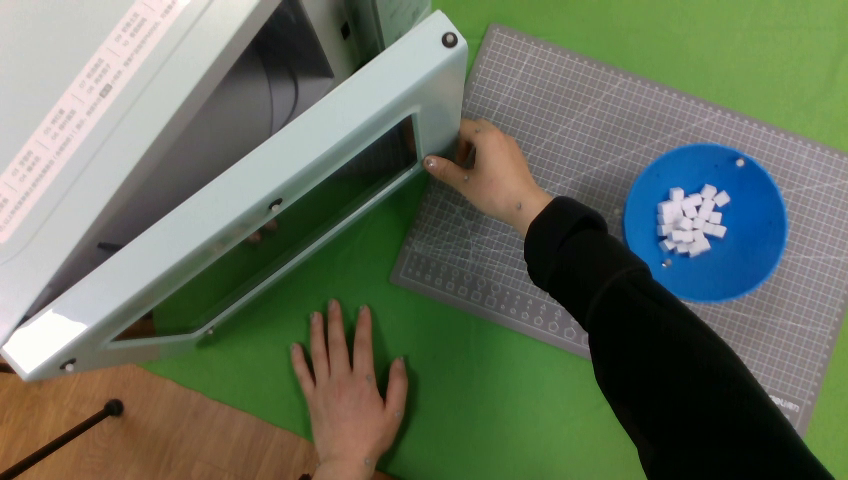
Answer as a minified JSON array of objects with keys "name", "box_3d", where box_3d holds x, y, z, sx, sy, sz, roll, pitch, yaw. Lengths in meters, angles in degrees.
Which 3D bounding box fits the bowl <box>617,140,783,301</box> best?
[{"name":"bowl","box_3d":[0.256,-0.015,0.594,0.151,0.077,0.151,0,85,1]}]

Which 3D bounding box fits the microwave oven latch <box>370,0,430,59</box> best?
[{"name":"microwave oven latch","box_3d":[-0.025,-0.223,0.619,0.030,0.029,0.079,37,87,3]}]

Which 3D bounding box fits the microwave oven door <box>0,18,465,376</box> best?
[{"name":"microwave oven door","box_3d":[-0.119,-0.020,0.500,0.356,0.244,0.039,-37,84,-3]}]

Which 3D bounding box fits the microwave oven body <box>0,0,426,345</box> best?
[{"name":"microwave oven body","box_3d":[-0.250,-0.173,0.520,0.325,0.260,0.441,35,87,3]}]
